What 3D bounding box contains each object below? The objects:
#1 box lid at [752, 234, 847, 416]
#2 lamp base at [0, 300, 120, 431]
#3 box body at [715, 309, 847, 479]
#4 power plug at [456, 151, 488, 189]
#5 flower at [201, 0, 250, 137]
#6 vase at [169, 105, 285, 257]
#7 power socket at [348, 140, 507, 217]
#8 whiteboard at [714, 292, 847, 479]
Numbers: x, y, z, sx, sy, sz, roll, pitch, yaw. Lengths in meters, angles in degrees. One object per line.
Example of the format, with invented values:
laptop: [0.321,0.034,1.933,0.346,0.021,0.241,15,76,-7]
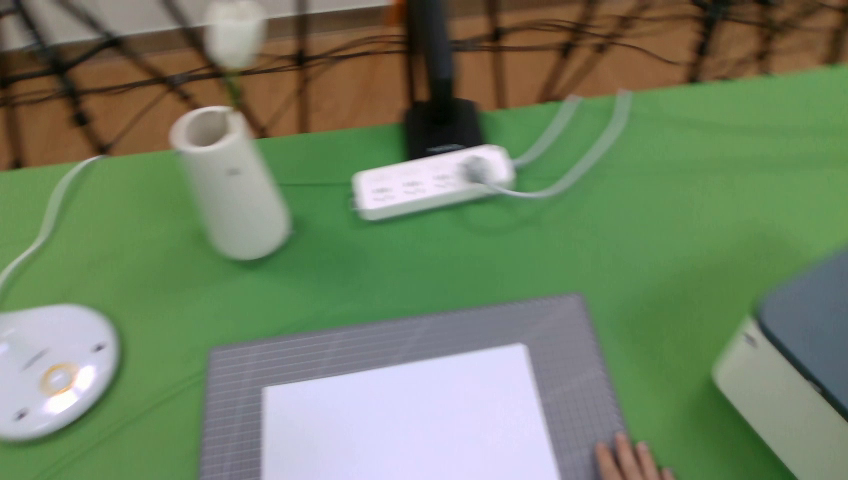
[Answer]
box lid: [0.488,0.126,0.491,0.263,0.015,0.367,-27,59,-14]
lamp base: [-0.448,0.093,0.638,0.178,0.182,0.160,19,58,19]
box body: [0.492,0.171,0.552,0.254,0.162,0.360,-26,58,-15]
power plug: [0.062,-0.085,0.799,0.035,0.053,0.072,-4,62,0]
flower: [-0.217,-0.108,0.655,0.038,0.363,0.044,39,55,6]
vase: [-0.234,-0.065,0.726,0.098,0.202,0.097,-2,55,3]
power socket: [0.007,-0.085,0.829,0.227,0.033,0.071,-12,57,-6]
whiteboard: [0.489,0.167,0.569,0.217,0.145,0.302,-26,58,-18]
